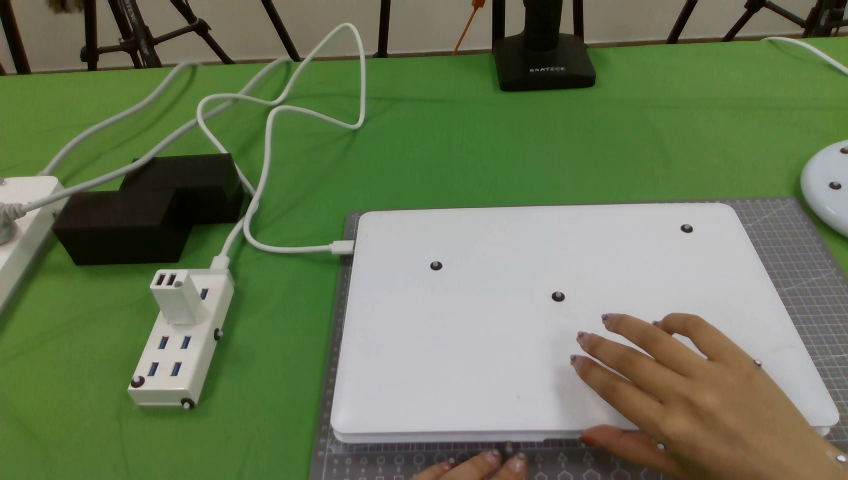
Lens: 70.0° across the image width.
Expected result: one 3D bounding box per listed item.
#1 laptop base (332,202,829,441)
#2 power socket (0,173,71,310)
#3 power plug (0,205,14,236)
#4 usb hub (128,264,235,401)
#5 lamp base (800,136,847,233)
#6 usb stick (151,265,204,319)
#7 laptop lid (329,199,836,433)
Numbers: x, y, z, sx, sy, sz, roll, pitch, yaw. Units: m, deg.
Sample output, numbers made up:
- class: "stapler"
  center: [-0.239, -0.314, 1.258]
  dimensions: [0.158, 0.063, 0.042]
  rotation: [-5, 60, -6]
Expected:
- class: "laptop base"
  center: [0.111, 0.058, 0.509]
  dimensions: [0.354, 0.023, 0.233]
  rotation: [-1, 49, 2]
- class: "power socket"
  center: [-0.413, 0.012, 0.573]
  dimensions: [0.072, 0.033, 0.224]
  rotation: [0, 45, 2]
- class: "power plug"
  center: [-0.410, -0.026, 0.580]
  dimensions: [0.035, 0.053, 0.072]
  rotation: [-6, 38, -16]
- class: "usb hub"
  center: [-0.199, 0.073, 0.507]
  dimensions: [0.049, 0.025, 0.124]
  rotation: [-1, 45, 4]
- class: "lamp base"
  center: [0.453, -0.108, 0.538]
  dimensions: [0.159, 0.182, 0.178]
  rotation: [22, 48, 23]
- class: "usb stick"
  center: [-0.197, 0.048, 0.491]
  dimensions: [0.027, 0.060, 0.021]
  rotation: [-2, 45, 3]
- class: "laptop lid"
  center: [0.109, 0.047, 0.495]
  dimensions: [0.356, 0.013, 0.239]
  rotation: [0, 45, 3]
